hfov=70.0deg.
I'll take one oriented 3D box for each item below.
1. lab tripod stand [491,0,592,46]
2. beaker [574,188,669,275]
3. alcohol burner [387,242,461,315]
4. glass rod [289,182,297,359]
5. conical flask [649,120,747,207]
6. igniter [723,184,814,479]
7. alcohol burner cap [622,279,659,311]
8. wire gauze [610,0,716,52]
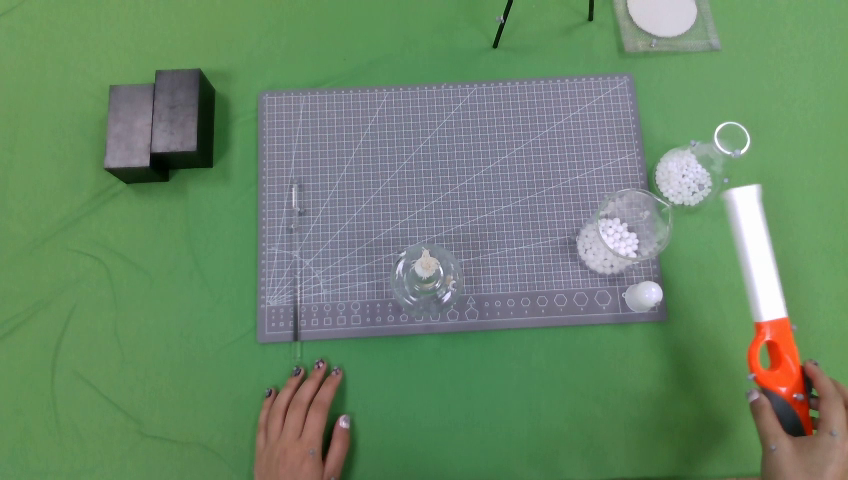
[{"bbox_3d":[0.133,-0.304,0.692,0.148,0.132,0.147,0,79,0],"label":"lab tripod stand"},{"bbox_3d":[0.205,-0.006,0.639,0.084,0.100,0.073,-26,78,-6],"label":"beaker"},{"bbox_3d":[-0.001,0.036,0.621,0.078,0.119,0.077,0,76,2],"label":"alcohol burner"},{"bbox_3d":[-0.146,0.032,0.675,0.008,0.008,0.199,-2,80,-1],"label":"glass rod"},{"bbox_3d":[0.297,-0.086,0.648,0.075,0.122,0.075,0,76,1],"label":"conical flask"},{"bbox_3d":[0.326,0.084,0.574,0.057,0.025,0.276,-8,86,-9],"label":"igniter"},{"bbox_3d":[0.236,0.058,0.654,0.034,0.048,0.033,0,77,0],"label":"alcohol burner cap"},{"bbox_3d":[0.294,-0.288,0.753,0.125,0.011,0.121,-4,78,-3],"label":"wire gauze"}]
